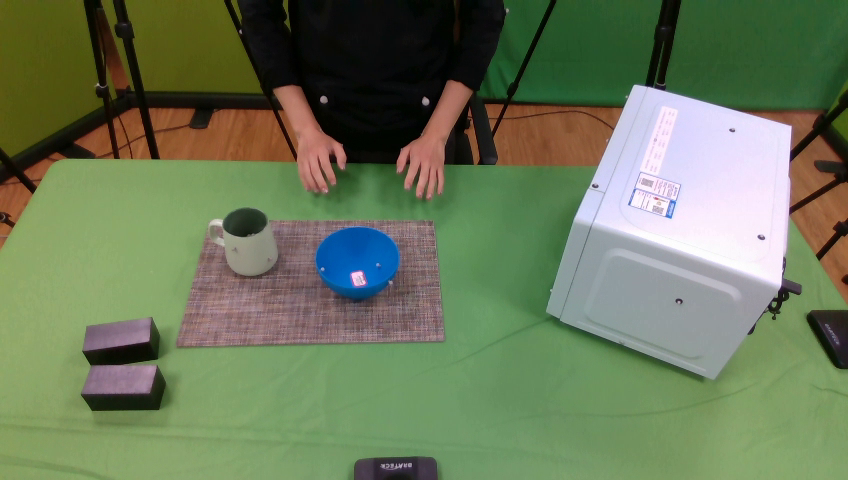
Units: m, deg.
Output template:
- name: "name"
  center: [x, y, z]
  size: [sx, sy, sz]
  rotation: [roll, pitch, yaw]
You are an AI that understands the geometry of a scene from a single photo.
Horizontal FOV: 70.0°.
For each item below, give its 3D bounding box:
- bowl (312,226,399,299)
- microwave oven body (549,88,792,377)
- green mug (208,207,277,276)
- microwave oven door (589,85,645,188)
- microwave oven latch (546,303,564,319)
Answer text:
- name: "bowl"
  center: [-0.120, 0.054, 1.091]
  size: [0.151, 0.077, 0.150]
  rotation: [2, 46, -2]
- name: "microwave oven body"
  center: [0.456, -0.028, 1.088]
  size: [0.325, 0.261, 0.440]
  rotation: [20, 47, 16]
- name: "green mug"
  center: [-0.335, 0.000, 1.108]
  size: [0.125, 0.105, 0.092]
  rotation: [14, 47, 9]
- name: "microwave oven door"
  center: [0.342, -0.107, 1.149]
  size: [0.039, 0.245, 0.354]
  rotation: [20, 48, 15]
- name: "microwave oven latch"
  center: [0.242, 0.102, 1.081]
  size: [0.030, 0.029, 0.079]
  rotation: [21, 48, 17]
